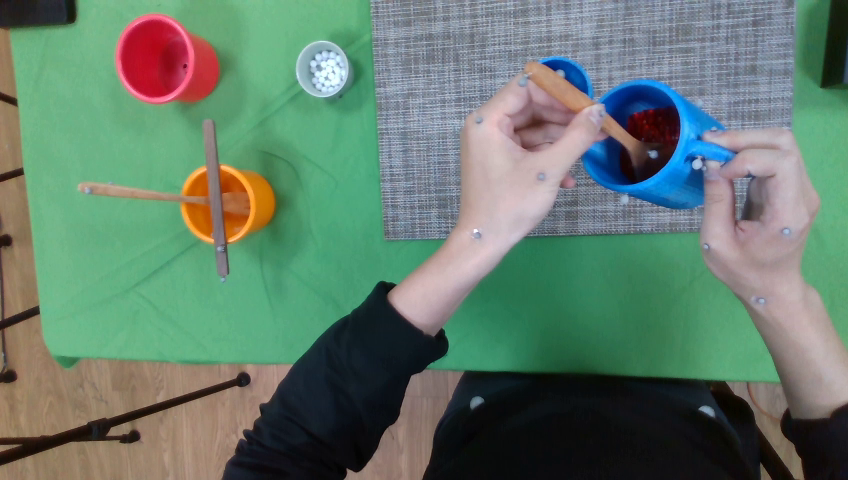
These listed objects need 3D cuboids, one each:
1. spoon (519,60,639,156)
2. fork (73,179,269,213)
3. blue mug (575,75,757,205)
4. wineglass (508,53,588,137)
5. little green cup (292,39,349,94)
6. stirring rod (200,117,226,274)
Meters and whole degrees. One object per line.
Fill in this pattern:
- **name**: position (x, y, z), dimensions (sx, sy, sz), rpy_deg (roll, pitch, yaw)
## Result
- **spoon**: position (0.121, -0.092, 0.456), dimensions (0.041, 0.195, 0.021), rpy_deg (-27, 68, 28)
- **fork**: position (-0.279, -0.051, 0.690), dimensions (0.209, 0.018, 0.028), rpy_deg (4, 109, -35)
- **blue mug**: position (0.192, -0.070, 0.465), dimensions (0.115, 0.106, 0.082), rpy_deg (22, 101, 41)
- **wineglass**: position (0.120, -0.137, 0.595), dimensions (0.073, 0.172, 0.074), rpy_deg (1, 98, 10)
- **little green cup**: position (-0.117, -0.197, 0.698), dimensions (0.061, 0.038, 0.061), rpy_deg (1, 99, 10)
- **stirring rod**: position (-0.237, -0.048, 0.681), dimensions (0.014, 0.006, 0.176), rpy_deg (-2, 97, 10)
